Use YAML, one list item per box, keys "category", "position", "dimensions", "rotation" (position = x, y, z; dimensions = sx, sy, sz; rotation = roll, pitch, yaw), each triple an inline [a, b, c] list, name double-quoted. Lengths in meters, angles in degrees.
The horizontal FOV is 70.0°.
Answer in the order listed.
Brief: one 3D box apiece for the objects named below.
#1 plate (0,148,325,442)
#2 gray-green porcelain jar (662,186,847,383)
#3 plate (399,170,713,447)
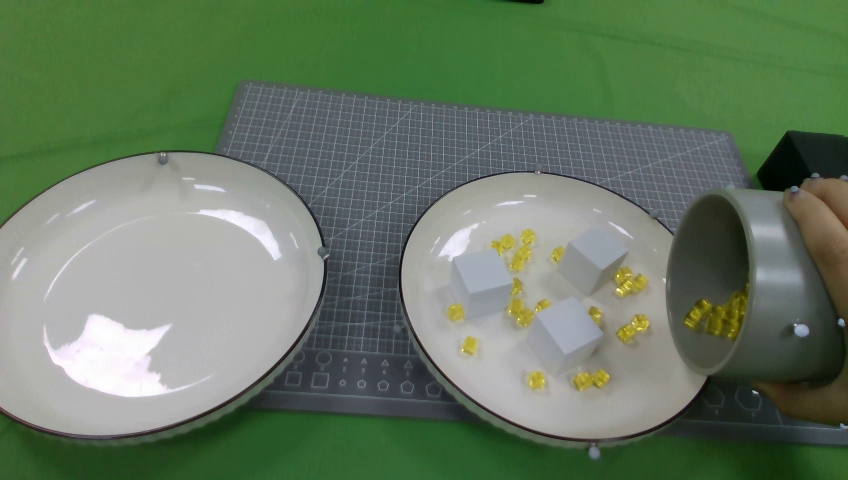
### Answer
- category: "plate"
  position: [-0.166, 0.027, 0.376]
  dimensions: [0.209, 0.038, 0.207]
  rotation: [3, 52, -4]
- category: "gray-green porcelain jar"
  position: [0.216, 0.026, 0.341]
  dimensions: [0.126, 0.107, 0.105]
  rotation: [4, 51, 0]
- category: "plate"
  position: [0.086, 0.039, 0.403]
  dimensions: [0.208, 0.039, 0.205]
  rotation: [4, 51, -5]
